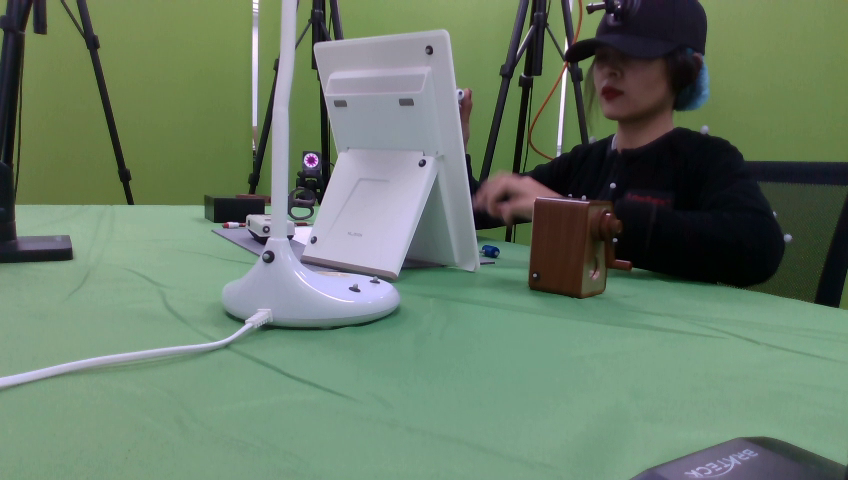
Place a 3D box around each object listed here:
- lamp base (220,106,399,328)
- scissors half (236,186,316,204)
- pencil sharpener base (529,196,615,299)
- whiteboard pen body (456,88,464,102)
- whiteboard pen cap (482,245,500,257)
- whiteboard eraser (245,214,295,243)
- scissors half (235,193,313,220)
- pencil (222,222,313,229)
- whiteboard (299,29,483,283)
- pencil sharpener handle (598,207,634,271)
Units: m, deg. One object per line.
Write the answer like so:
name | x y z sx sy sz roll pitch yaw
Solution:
lamp base | -0.101 -0.023 0.531 0.160 0.180 0.179 4 10 10
scissors half | -0.320 -0.097 1.316 0.176 0.040 0.013 -3 11 -29
pencil sharpener base | 0.168 0.007 0.678 0.076 0.107 0.062 10 10 42
whiteboard pen body | 0.049 -0.221 0.930 0.017 0.017 0.140 2 6 -3
whiteboard pen cap | 0.104 0.017 0.936 0.018 0.018 0.033 -1 6 -22
whiteboard eraser | -0.247 -0.018 0.965 0.056 0.042 0.112 0 8 -28
scissors half | -0.325 -0.077 1.319 0.176 0.040 0.012 17 6 -31
pencil | -0.302 -0.030 1.189 0.195 0.012 0.012 -2 9 -42
whiteboard | -0.074 -0.082 0.742 0.216 0.305 0.144 9 29 37
pencil sharpener handle | 0.208 0.000 0.645 0.030 0.068 0.036 10 22 42
